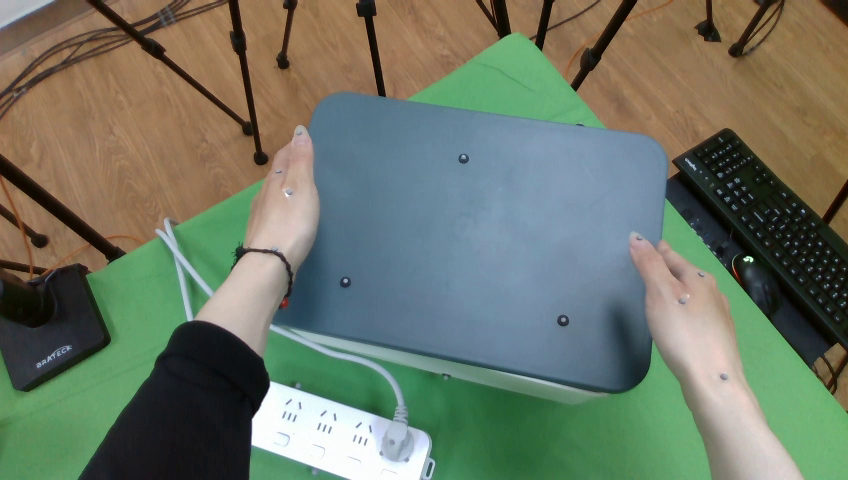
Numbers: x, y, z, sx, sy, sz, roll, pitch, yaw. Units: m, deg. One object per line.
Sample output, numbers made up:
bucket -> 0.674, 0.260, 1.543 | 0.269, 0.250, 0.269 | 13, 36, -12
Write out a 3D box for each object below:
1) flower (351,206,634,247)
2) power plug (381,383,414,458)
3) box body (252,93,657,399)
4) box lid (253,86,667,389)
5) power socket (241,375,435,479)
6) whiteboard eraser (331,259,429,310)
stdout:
flower -> 0.068, -0.005, 0.747 | 0.360, 0.038, 0.043 | -4, 59, 23
power plug -> -0.020, 0.197, 0.650 | 0.035, 0.053, 0.072 | 25, 69, 14
box body -> 0.038, 0.014, 0.668 | 0.363, 0.161, 0.253 | 12, 71, 8
box lid -> 0.041, -0.016, 0.587 | 0.371, 0.015, 0.262 | 10, 70, 7
power socket -> -0.098, 0.213, 0.675 | 0.226, 0.033, 0.072 | 16, 71, 10
whiteboard eraser -> -0.051, 0.053, 0.715 | 0.112, 0.042, 0.055 | 2, 71, 3
